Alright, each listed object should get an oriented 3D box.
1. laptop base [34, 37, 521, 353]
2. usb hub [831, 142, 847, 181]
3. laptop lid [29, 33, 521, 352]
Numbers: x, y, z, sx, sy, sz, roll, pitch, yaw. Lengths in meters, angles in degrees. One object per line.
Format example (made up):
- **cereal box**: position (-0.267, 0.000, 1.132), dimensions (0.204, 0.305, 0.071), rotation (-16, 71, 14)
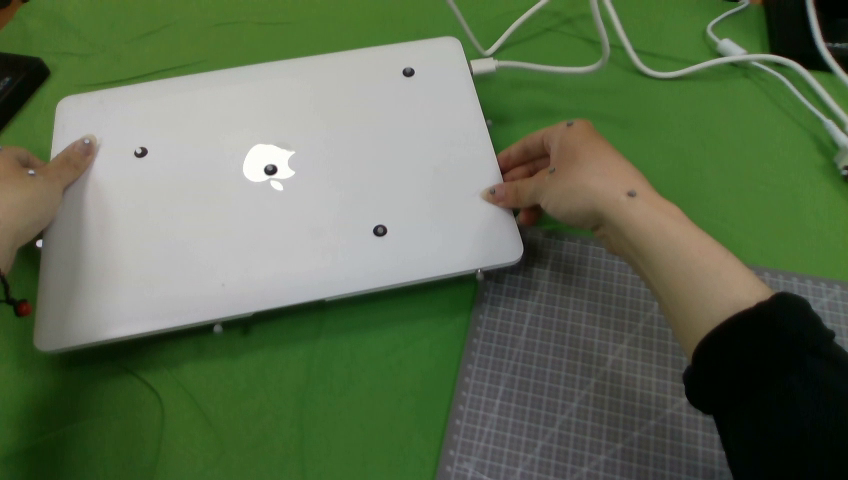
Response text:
- **laptop base**: position (-0.121, -0.050, 0.490), dimensions (0.355, 0.023, 0.233), rotation (-11, 64, -4)
- **usb hub**: position (0.388, -0.032, 0.484), dimensions (0.049, 0.025, 0.124), rotation (-14, 56, -8)
- **laptop lid**: position (-0.121, -0.054, 0.477), dimensions (0.357, 0.013, 0.239), rotation (-9, 63, -4)
